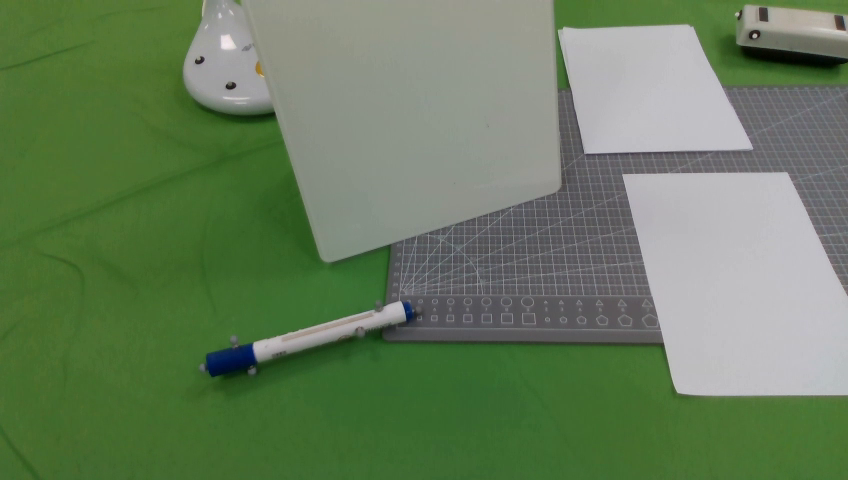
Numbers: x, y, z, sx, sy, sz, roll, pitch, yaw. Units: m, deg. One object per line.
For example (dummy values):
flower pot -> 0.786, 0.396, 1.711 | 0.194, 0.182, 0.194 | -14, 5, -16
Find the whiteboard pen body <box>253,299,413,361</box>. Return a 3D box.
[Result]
whiteboard pen body -> -0.076, 0.067, 0.435 | 0.141, 0.017, 0.017 | -15, 51, -11

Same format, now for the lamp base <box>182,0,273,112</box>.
lamp base -> -0.191, -0.246, 0.601 | 0.177, 0.182, 0.160 | 34, 59, 30

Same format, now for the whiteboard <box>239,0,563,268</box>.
whiteboard -> -0.025, -0.169, 0.483 | 0.217, 0.308, 0.142 | -17, 32, -10

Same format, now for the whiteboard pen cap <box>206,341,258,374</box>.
whiteboard pen cap -> -0.133, 0.081, 0.423 | 0.033, 0.018, 0.018 | -14, 50, -13

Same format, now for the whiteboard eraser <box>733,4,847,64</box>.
whiteboard eraser -> 0.386, -0.215, 0.635 | 0.112, 0.042, 0.055 | 12, 53, 13
